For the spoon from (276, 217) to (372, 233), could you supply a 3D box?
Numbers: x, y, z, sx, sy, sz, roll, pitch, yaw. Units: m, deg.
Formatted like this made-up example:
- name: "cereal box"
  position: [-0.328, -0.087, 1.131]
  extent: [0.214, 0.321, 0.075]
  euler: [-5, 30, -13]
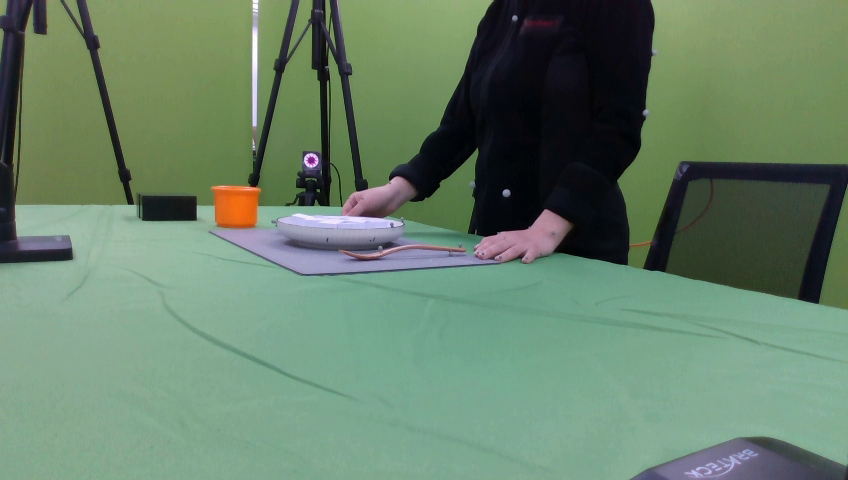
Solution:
- name: "spoon"
  position: [-0.181, -0.030, 1.123]
  extent: [0.195, 0.021, 0.041]
  euler: [-3, 42, -32]

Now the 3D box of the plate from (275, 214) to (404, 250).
- name: "plate"
  position: [-0.136, -0.013, 0.982]
  extent: [0.208, 0.039, 0.207]
  euler: [3, 7, 0]

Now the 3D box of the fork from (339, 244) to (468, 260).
- name: "fork"
  position: [-0.024, 0.016, 0.865]
  extent: [0.208, 0.018, 0.028]
  euler: [-4, 4, -31]
